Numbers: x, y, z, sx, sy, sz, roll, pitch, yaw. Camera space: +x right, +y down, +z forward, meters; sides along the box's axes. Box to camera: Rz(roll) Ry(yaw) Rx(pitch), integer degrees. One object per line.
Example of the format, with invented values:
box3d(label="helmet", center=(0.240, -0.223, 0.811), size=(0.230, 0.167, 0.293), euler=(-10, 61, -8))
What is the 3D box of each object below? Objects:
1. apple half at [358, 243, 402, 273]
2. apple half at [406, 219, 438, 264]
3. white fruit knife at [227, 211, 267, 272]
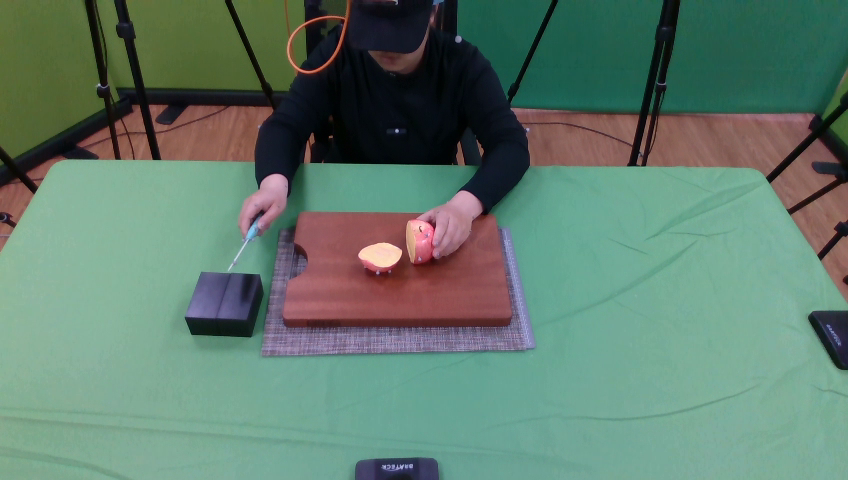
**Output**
box3d(label="apple half", center=(-0.078, 0.038, 1.110), size=(0.081, 0.033, 0.081), euler=(1, 30, 0))
box3d(label="apple half", center=(-0.001, 0.003, 1.121), size=(0.053, 0.075, 0.080), euler=(-4, 43, -14))
box3d(label="white fruit knife", center=(-0.316, 0.000, 1.086), size=(0.016, 0.027, 0.206), euler=(35, 27, -16))
